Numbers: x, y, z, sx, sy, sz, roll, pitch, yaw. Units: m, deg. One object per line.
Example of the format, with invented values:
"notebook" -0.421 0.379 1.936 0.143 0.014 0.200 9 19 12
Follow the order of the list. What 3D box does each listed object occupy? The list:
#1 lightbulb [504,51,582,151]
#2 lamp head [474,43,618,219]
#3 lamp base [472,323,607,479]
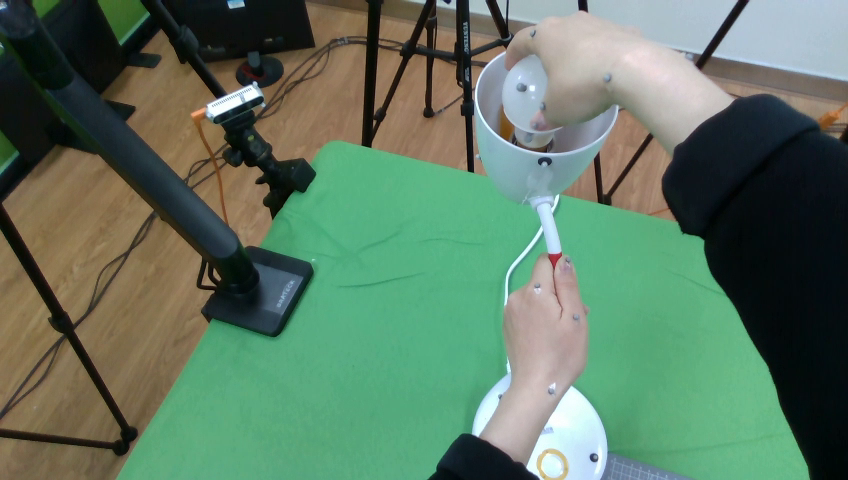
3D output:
"lightbulb" 0.092 -0.103 0.487 0.059 0.108 0.059 -1 64 2
"lamp head" 0.095 -0.082 0.515 0.112 0.124 0.111 0 57 1
"lamp base" 0.128 0.181 0.669 0.161 0.182 0.177 -21 55 -12
